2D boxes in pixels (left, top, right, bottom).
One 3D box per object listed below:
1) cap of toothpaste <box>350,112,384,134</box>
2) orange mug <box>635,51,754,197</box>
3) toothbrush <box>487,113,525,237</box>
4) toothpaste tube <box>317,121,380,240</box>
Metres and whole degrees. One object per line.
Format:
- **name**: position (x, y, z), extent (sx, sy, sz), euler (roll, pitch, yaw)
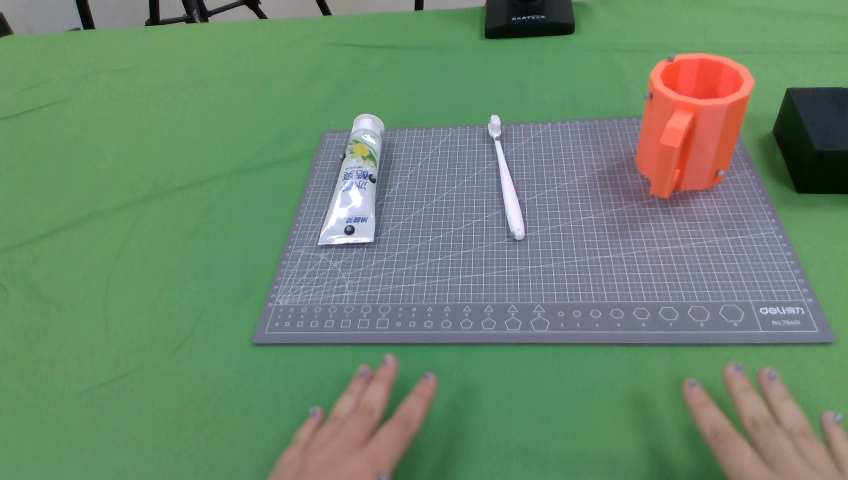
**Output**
- **cap of toothpaste**: position (-0.063, -0.124, 0.663), extent (0.037, 0.038, 0.011), euler (-1, 50, 7)
- **orange mug**: position (0.239, -0.101, 0.555), extent (0.083, 0.102, 0.126), euler (21, 48, 26)
- **toothbrush**: position (0.081, -0.070, 0.606), extent (0.014, 0.017, 0.180), euler (5, 46, -10)
- **toothpaste tube**: position (-0.070, -0.064, 0.615), extent (0.055, 0.035, 0.163), euler (-5, 49, 12)
